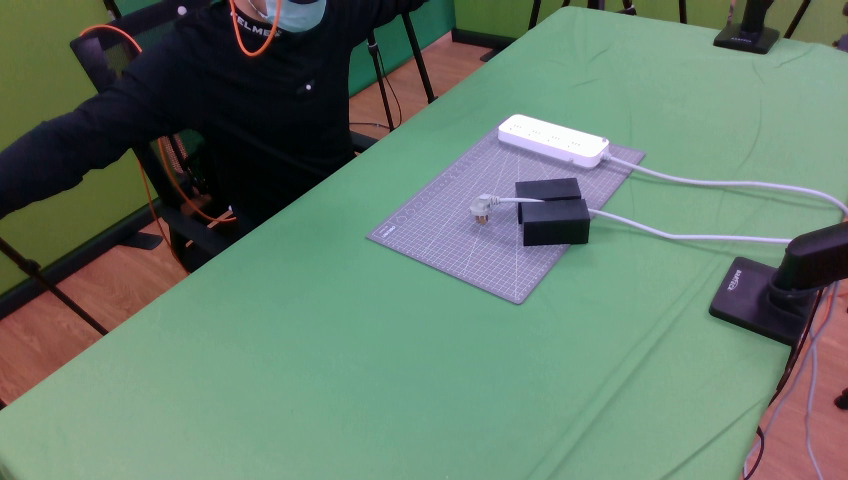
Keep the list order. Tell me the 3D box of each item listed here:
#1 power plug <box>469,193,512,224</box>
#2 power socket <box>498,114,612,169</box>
[{"bbox_3d":[0.105,-0.047,0.975,0.035,0.053,0.072,-29,36,-34],"label":"power plug"},{"bbox_3d":[0.240,-0.189,1.141,0.225,0.033,0.072,25,50,32],"label":"power socket"}]
